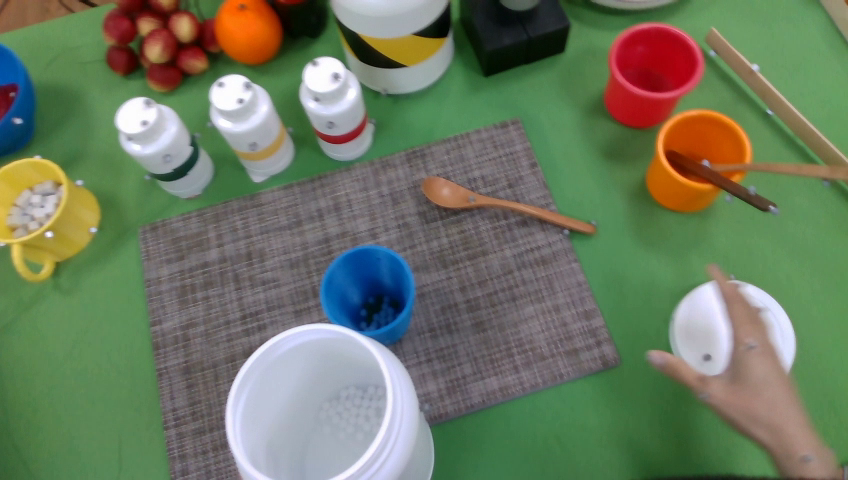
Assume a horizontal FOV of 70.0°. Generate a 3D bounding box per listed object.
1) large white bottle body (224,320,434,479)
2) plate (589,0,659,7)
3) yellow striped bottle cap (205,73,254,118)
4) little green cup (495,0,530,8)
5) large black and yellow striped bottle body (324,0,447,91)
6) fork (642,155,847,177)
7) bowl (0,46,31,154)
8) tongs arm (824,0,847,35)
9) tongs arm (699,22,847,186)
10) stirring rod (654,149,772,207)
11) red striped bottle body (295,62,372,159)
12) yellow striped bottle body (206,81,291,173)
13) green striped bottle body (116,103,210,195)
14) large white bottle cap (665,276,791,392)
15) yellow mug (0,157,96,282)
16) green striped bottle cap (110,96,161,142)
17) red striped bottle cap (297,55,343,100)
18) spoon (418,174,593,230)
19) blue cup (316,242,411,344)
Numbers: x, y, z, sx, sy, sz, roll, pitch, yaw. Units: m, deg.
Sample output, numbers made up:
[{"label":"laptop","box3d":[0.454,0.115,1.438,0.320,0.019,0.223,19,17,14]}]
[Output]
[{"label":"large white bottle body","box3d":[-0.065,0.146,0.461,0.130,0.186,0.129,-3,59,5]},{"label":"plate","box3d":[0.248,-0.375,0.765,0.209,0.038,0.207,-1,70,3]},{"label":"yellow striped bottle cap","box3d":[-0.195,-0.145,0.606,0.044,0.019,0.044,-1,71,3]},{"label":"little green cup","box3d":[0.102,-0.299,0.691,0.061,0.039,0.061,-1,67,2]},{"label":"large black and yellow striped bottle body","box3d":[-0.043,-0.267,0.664,0.131,0.185,0.130,-1,69,4]},{"label":"fork","box3d":[0.304,-0.071,0.585,0.028,0.206,0.019,-38,115,-24]},{"label":"bowl","box3d":[-0.524,-0.150,0.707,0.151,0.077,0.150,-1,69,3]},{"label":"tongs arm","box3d":[0.522,-0.143,0.660,0.028,0.028,0.384,-13,70,-7]},{"label":"tongs arm","box3d":[0.442,-0.107,0.651,0.051,0.027,0.382,-29,71,-9]},{"label":"stirring rod","box3d":[0.276,-0.064,0.593,0.014,0.006,0.174,-15,26,-5]},{"label":"red striped bottle body","box3d":[-0.099,-0.143,0.655,0.063,0.120,0.062,-3,68,8]},{"label":"yellow striped bottle body","box3d":[-0.191,-0.126,0.654,0.063,0.121,0.062,-2,69,5]},{"label":"green striped bottle body","box3d":[-0.282,-0.101,0.651,0.063,0.120,0.062,-1,69,3]},{"label":"large white bottle cap","box3d":[0.298,0.091,0.596,0.115,0.018,0.114,-1,68,3]},{"label":"yellow mug","box3d":[-0.423,-0.018,0.657,0.100,0.064,0.130,-8,69,0]},{"label":"green striped bottle cap","box3d":[-0.287,-0.120,0.602,0.044,0.020,0.044,-1,68,3]},{"label":"red striped bottle cap","box3d":[-0.104,-0.163,0.606,0.044,0.018,0.044,0,67,0]},{"label":"spoon","box3d":[0.087,-0.038,0.652,0.193,0.022,0.041,13,45,8]},{"label":"blue cup","box3d":[-0.051,0.061,0.580,0.092,0.101,0.092,-1,68,2]}]
